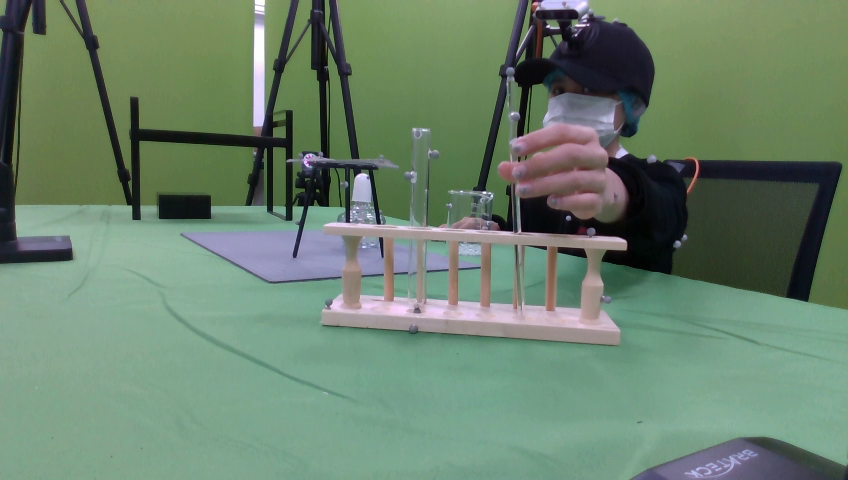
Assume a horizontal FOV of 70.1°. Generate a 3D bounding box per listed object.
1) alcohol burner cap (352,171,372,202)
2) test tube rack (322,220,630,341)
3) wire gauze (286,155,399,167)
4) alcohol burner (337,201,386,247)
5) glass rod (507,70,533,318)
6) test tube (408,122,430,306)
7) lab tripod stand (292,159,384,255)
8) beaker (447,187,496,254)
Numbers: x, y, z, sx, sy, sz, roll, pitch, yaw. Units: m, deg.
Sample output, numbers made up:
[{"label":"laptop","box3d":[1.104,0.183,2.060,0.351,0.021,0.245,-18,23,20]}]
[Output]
[{"label":"alcohol burner cap","box3d":[-0.096,-0.084,0.951,0.034,0.048,0.034,5,6,0]},{"label":"test tube rack","box3d":[0.041,0.029,0.511,0.242,0.085,0.067,3,7,5]},{"label":"wire gauze","box3d":[-0.101,-0.105,0.788,0.121,0.011,0.125,4,6,6]},{"label":"alcohol burner","box3d":[-0.098,-0.049,0.954,0.078,0.119,0.078,0,6,0]},{"label":"glass rod","box3d":[0.076,-0.031,0.476,0.008,0.199,0.008,-6,13,2]},{"label":"test tube","box3d":[-0.004,-0.019,0.488,0.017,0.150,0.017,1,11,0]},{"label":"lab tripod stand","box3d":[-0.105,-0.039,0.797,0.148,0.131,0.148,2,5,0]},{"label":"beaker","box3d":[0.076,-0.031,0.949,0.074,0.100,0.083,-6,11,-42]}]
